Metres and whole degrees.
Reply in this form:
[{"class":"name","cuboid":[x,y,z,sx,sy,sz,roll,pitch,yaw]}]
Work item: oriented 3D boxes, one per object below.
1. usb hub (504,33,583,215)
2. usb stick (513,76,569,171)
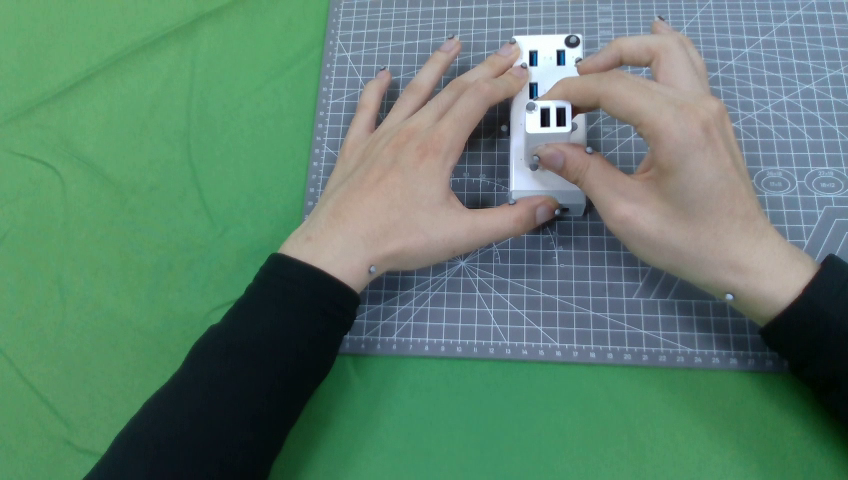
[{"class":"usb hub","cuboid":[0.078,-0.078,0.403,0.049,0.025,0.124,0,73,6]},{"class":"usb stick","cuboid":[0.067,-0.067,0.347,0.027,0.060,0.021,-29,61,-7]}]
